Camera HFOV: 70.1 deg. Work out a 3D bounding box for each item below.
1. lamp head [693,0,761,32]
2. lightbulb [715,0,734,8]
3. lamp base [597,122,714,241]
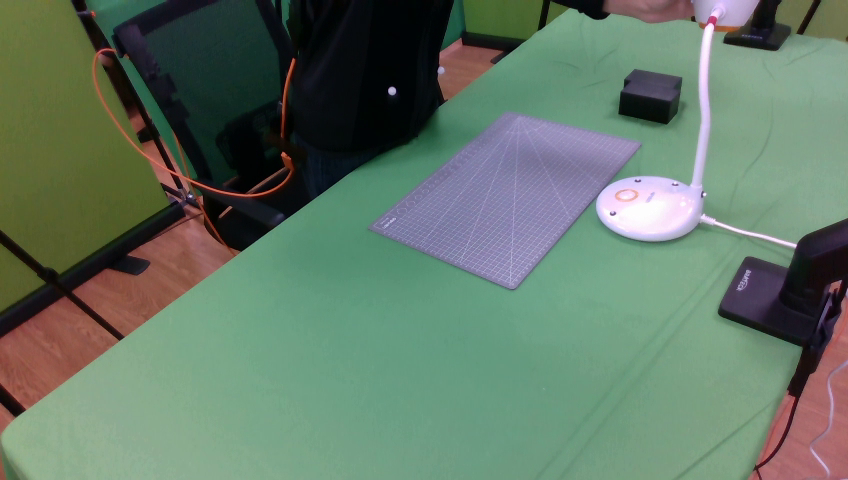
[{"bbox_3d":[0.437,-0.362,0.869,0.112,0.123,0.112,2,28,0],"label":"lamp head"},{"bbox_3d":[0.436,-0.389,0.862,0.059,0.108,0.059,-4,28,3],"label":"lightbulb"},{"bbox_3d":[0.363,-0.109,0.921,0.178,0.181,0.160,13,45,21],"label":"lamp base"}]
